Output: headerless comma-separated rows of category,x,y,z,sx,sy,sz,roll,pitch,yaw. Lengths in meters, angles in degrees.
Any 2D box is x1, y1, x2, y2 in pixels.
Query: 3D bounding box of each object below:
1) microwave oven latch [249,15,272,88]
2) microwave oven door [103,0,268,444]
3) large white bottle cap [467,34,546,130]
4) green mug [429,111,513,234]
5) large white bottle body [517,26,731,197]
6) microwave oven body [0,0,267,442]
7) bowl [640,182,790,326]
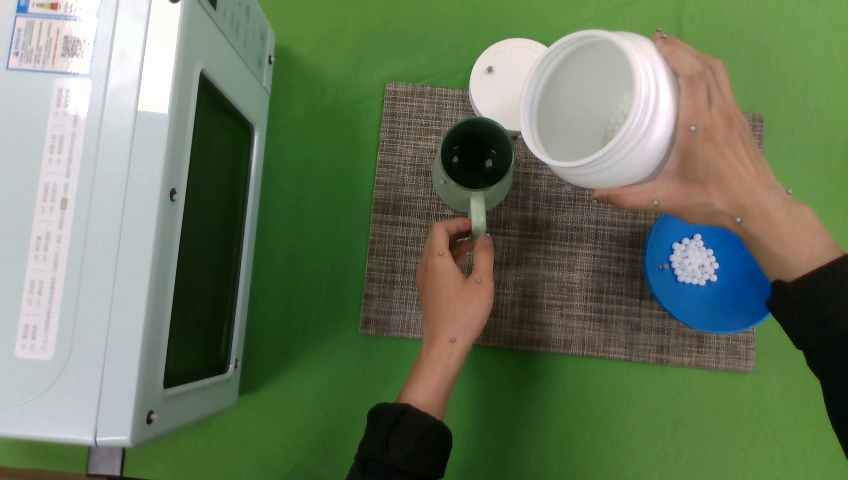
microwave oven latch,-0.191,-0.217,0.695,0.030,0.029,0.079,4,85,1
microwave oven door,-0.211,-0.012,0.572,0.039,0.244,0.355,3,84,2
large white bottle cap,0.108,-0.187,0.712,0.115,0.018,0.114,0,80,1
green mug,0.052,-0.069,0.659,0.092,0.105,0.125,-3,84,-1
large white bottle body,0.179,-0.111,0.543,0.130,0.186,0.130,-3,86,44
microwave oven body,-0.354,-0.063,0.584,0.326,0.260,0.440,4,85,1
bowl,0.302,0.018,0.661,0.151,0.077,0.151,0,84,1
